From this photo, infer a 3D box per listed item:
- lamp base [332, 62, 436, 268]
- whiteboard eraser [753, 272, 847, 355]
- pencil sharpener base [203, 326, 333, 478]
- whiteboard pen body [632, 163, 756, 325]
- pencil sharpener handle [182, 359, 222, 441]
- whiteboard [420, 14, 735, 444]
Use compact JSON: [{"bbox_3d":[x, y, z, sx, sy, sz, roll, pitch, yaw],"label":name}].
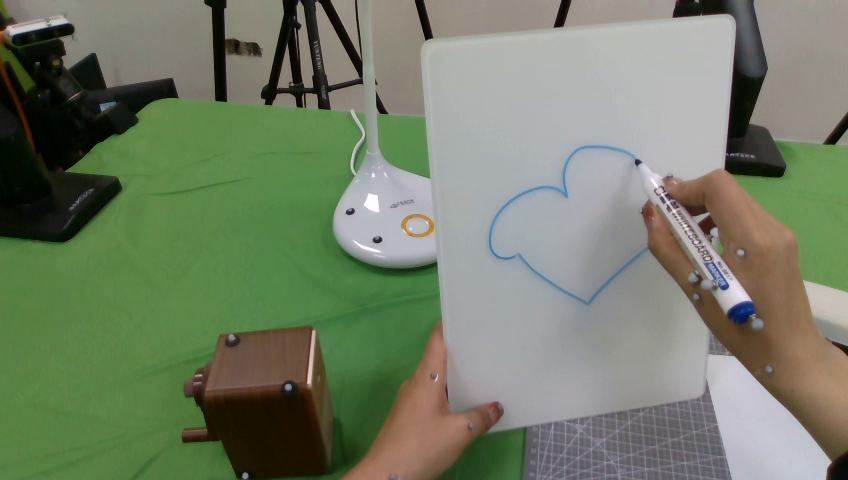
[{"bbox_3d":[-0.034,-0.088,0.654,0.161,0.182,0.177,-26,42,-28],"label":"lamp base"},{"bbox_3d":[0.362,0.070,0.551,0.112,0.042,0.055,19,44,24],"label":"whiteboard eraser"},{"bbox_3d":[-0.113,0.123,0.450,0.077,0.108,0.060,-4,39,-3],"label":"pencil sharpener base"},{"bbox_3d":[0.163,-0.005,0.382,0.017,0.017,0.139,-9,47,-9],"label":"whiteboard pen body"},{"bbox_3d":[-0.164,0.118,0.436,0.031,0.068,0.035,-4,26,-3],"label":"pencil sharpener handle"},{"bbox_3d":[0.108,-0.016,0.506,0.217,0.307,0.143,-7,20,-6],"label":"whiteboard"}]
